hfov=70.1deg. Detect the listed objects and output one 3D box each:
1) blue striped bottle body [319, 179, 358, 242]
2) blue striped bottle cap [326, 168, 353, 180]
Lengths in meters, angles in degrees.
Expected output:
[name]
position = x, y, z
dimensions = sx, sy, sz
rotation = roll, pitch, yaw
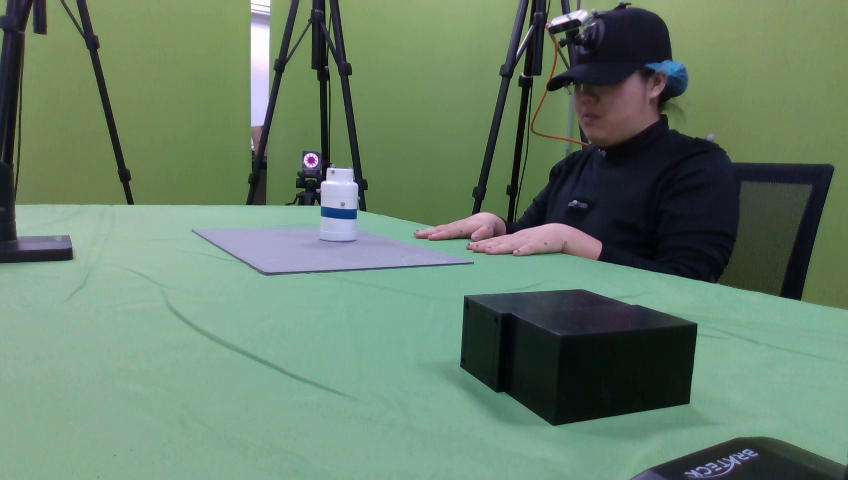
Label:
[blue striped bottle body]
position = -0.143, -0.060, 1.018
dimensions = 0.063, 0.120, 0.063
rotation = 2, 7, 0
[blue striped bottle cap]
position = -0.141, -0.110, 1.011
dimensions = 0.044, 0.020, 0.044
rotation = 2, 6, 0
